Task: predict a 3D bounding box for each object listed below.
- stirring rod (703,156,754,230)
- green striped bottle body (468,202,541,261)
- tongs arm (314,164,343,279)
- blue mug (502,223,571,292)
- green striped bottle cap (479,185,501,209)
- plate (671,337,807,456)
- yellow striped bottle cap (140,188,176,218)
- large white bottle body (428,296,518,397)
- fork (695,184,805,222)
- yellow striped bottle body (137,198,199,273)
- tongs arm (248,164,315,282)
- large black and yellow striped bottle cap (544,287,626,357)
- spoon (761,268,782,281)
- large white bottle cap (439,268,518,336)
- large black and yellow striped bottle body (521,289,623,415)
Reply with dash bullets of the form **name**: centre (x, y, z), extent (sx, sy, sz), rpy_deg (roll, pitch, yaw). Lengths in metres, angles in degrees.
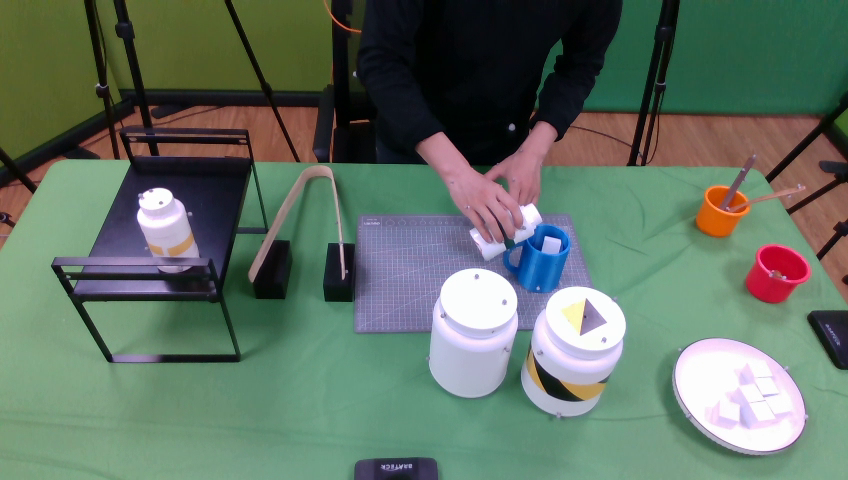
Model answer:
- **stirring rod**: centre (0.631, -0.097, 1.258), extent (0.014, 0.006, 0.176), rpy_deg (33, 95, 29)
- **green striped bottle body**: centre (0.142, -0.019, 1.046), extent (0.119, 0.063, 0.062), rpy_deg (-30, 51, 4)
- **tongs arm**: centre (-0.188, -0.049, 1.170), extent (0.051, 0.026, 0.382), rpy_deg (-6, 35, -6)
- **blue mug**: centre (0.203, 0.031, 1.121), extent (0.116, 0.106, 0.082), rpy_deg (5, 47, 1)
- **green striped bottle cap**: centre (0.129, -0.084, 1.180), extent (0.044, 0.020, 0.044), rpy_deg (22, 48, -26)
- **plate**: centre (0.503, 0.254, 0.984), extent (0.208, 0.039, 0.206), rpy_deg (2, 46, -2)
- **yellow striped bottle cap**: centre (-0.363, -0.051, 0.827), extent (0.044, 0.019, 0.044), rpy_deg (1, 48, -1)
- **large white bottle body**: centre (0.076, 0.147, 0.950), extent (0.131, 0.185, 0.130), rpy_deg (2, 46, -2)
- **fork**: centre (0.657, -0.075, 1.230), extent (0.207, 0.019, 0.028), rpy_deg (-23, 34, 37)
- **yellow striped bottle body**: centre (-0.366, -0.014, 0.864), extent (0.063, 0.121, 0.062), rpy_deg (2, 46, -2)
- **tongs arm**: centre (-0.270, -0.047, 1.165), extent (0.028, 0.028, 0.385), rpy_deg (-1, 34, 7)
- **large black and yellow striped bottle cap**: centre (0.232, 0.116, 0.876), extent (0.115, 0.019, 0.114), rpy_deg (1, 45, -1)
- **spoon**: centre (0.638, 0.060, 1.105), extent (0.041, 0.021, 0.194), rpy_deg (38, 11, 24)
- **large white bottle cap**: centre (0.080, 0.089, 0.888), extent (0.115, 0.018, 0.114), rpy_deg (2, 47, -2)
- **large black and yellow striped bottle body**: centre (0.228, 0.173, 0.938), extent (0.131, 0.185, 0.130), rpy_deg (2, 47, -2)
